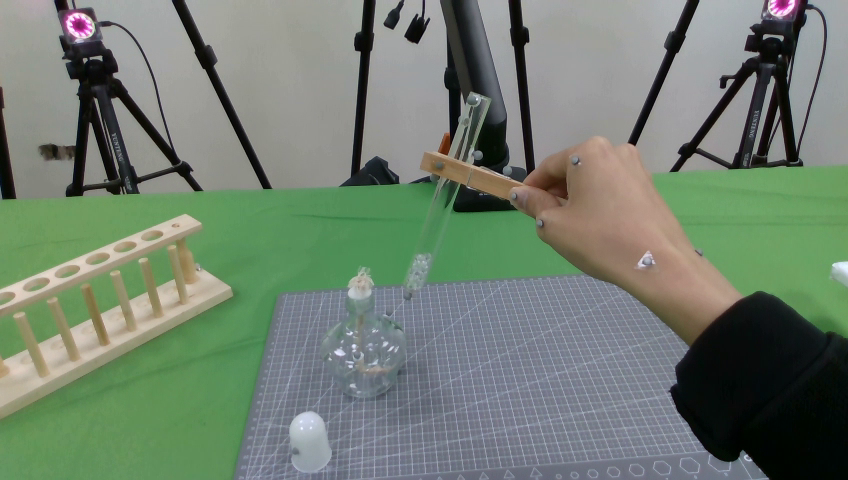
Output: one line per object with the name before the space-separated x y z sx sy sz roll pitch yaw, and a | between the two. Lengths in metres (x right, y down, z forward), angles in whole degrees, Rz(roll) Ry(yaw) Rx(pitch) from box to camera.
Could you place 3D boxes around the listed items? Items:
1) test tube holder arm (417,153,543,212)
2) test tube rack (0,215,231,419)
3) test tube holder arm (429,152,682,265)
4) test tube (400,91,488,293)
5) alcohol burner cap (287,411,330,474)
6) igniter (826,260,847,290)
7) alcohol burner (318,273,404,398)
test tube holder arm | 0.037 -0.039 0.406 0.087 0.015 0.010 21 19 14
test tube rack | -0.324 0.066 0.606 0.066 0.086 0.242 24 39 35
test tube holder arm | 0.078 -0.024 0.397 0.177 0.015 0.013 23 20 21
test tube | 0.012 -0.030 0.423 0.017 0.151 0.017 18 18 -5
alcohol burner cap | -0.094 0.158 0.483 0.034 0.048 0.033 -1 31 1
igniter | 0.438 0.091 0.501 0.057 0.025 0.274 -4 28 -3
alcohol burner | -0.057 0.081 0.539 0.078 0.120 0.077 -1 30 1
